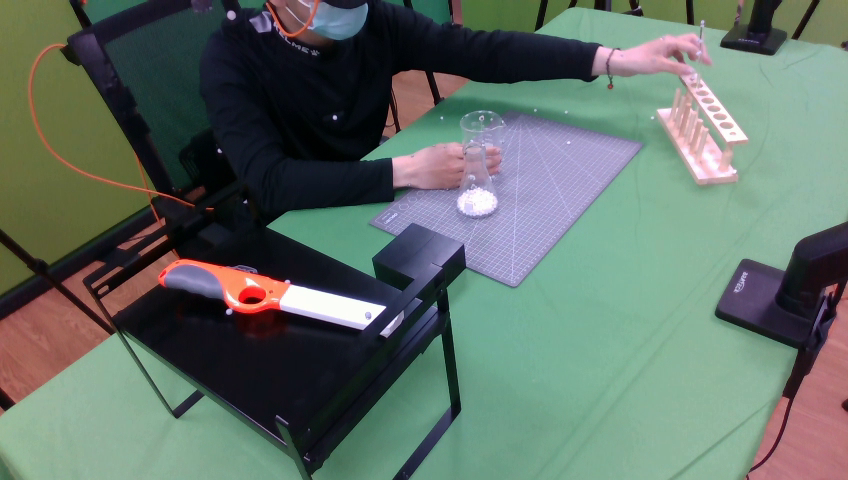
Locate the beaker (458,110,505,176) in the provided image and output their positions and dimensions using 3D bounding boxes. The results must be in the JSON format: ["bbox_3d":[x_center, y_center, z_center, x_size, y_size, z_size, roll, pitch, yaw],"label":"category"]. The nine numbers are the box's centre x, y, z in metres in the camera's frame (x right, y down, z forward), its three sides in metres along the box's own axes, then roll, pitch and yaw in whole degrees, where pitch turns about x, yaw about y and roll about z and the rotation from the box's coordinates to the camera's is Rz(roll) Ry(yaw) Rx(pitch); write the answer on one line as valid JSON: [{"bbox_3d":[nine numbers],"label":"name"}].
[{"bbox_3d":[0.106,-0.174,1.097,0.084,0.101,0.074,5,42,13],"label":"beaker"}]

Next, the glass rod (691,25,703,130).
[{"bbox_3d":[0.488,-0.287,1.086,0.008,0.201,0.008,-8,38,7],"label":"glass rod"}]

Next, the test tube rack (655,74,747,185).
[{"bbox_3d":[0.491,-0.205,1.092,0.067,0.085,0.241,-4,40,3],"label":"test tube rack"}]

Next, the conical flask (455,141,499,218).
[{"bbox_3d":[0.085,-0.103,0.999,0.075,0.122,0.075,-4,40,4],"label":"conical flask"}]

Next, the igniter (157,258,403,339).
[{"bbox_3d":[-0.157,0.059,0.638,0.275,0.025,0.057,11,43,14],"label":"igniter"}]
